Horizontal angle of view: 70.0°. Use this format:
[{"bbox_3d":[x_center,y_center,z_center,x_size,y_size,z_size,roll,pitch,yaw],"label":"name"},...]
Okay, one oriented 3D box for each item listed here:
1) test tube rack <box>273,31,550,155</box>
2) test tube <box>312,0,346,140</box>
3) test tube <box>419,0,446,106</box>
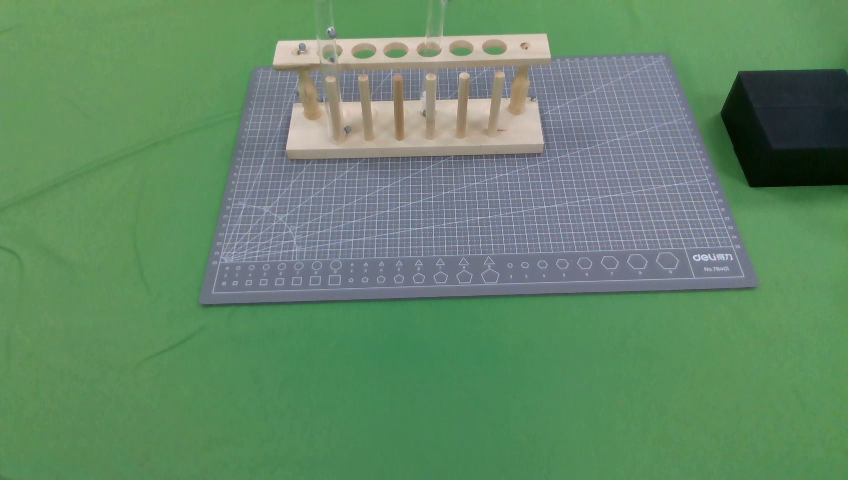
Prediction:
[{"bbox_3d":[-0.010,-0.134,0.560,0.242,0.086,0.066,-1,54,1],"label":"test tube rack"},{"bbox_3d":[-0.080,-0.144,0.514,0.017,0.152,0.017,1,53,-1],"label":"test tube"},{"bbox_3d":[0.008,-0.178,0.530,0.017,0.151,0.017,3,51,-3],"label":"test tube"}]
